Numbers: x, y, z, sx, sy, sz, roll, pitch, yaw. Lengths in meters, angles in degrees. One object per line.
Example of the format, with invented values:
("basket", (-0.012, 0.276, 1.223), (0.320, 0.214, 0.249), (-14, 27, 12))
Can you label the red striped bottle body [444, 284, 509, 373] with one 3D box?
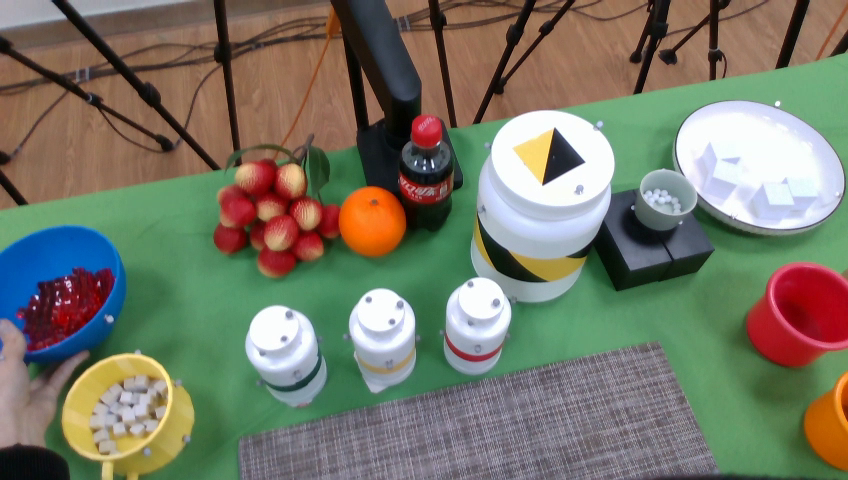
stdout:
("red striped bottle body", (0.052, 0.084, 0.606), (0.063, 0.121, 0.062), (-2, 57, 3))

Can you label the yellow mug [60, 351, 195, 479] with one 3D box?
("yellow mug", (-0.281, 0.178, 0.575), (0.100, 0.064, 0.129), (-4, 59, -1))

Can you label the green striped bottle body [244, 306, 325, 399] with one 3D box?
("green striped bottle body", (-0.135, 0.107, 0.588), (0.063, 0.120, 0.062), (0, 58, 0))

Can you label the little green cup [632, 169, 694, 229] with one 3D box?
("little green cup", (0.263, -0.044, 0.676), (0.061, 0.039, 0.061), (1, 57, -1))

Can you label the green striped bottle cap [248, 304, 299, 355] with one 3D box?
("green striped bottle cap", (-0.135, 0.080, 0.543), (0.044, 0.020, 0.044), (1, 57, -1))

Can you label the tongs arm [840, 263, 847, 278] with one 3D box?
("tongs arm", (0.587, 0.167, 0.611), (0.051, 0.027, 0.381), (-22, 62, -16))

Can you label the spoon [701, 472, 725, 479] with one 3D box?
("spoon", (0.138, 0.224, 0.456), (0.194, 0.022, 0.041), (-34, 69, 17))

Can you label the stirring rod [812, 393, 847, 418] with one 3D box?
("stirring rod", (0.427, 0.179, 0.542), (0.014, 0.006, 0.175), (-17, 17, -12))

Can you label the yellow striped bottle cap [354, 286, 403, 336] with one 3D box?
("yellow striped bottle cap", (-0.042, 0.065, 0.554), (0.044, 0.019, 0.044), (1, 60, -1))

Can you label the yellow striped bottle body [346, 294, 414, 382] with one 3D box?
("yellow striped bottle body", (-0.042, 0.092, 0.598), (0.063, 0.121, 0.062), (0, 58, 0))

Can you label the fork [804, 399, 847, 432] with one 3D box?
("fork", (0.455, 0.173, 0.539), (0.028, 0.019, 0.206), (-45, 24, -29))

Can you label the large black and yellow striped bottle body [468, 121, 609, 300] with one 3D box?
("large black and yellow striped bottle body", (0.117, -0.031, 0.639), (0.131, 0.185, 0.129), (0, 58, 0))

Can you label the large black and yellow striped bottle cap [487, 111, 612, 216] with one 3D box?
("large black and yellow striped bottle cap", (0.117, -0.074, 0.567), (0.115, 0.019, 0.114), (0, 58, 0))

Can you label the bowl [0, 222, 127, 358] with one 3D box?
("bowl", (-0.377, 0.064, 0.632), (0.151, 0.077, 0.150), (-1, 56, 2))

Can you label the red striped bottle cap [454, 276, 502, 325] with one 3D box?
("red striped bottle cap", (0.050, 0.055, 0.561), (0.044, 0.018, 0.044), (2, 56, -3))

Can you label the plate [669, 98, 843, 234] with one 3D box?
("plate", (0.411, -0.092, 0.767), (0.209, 0.038, 0.207), (1, 59, -1))
